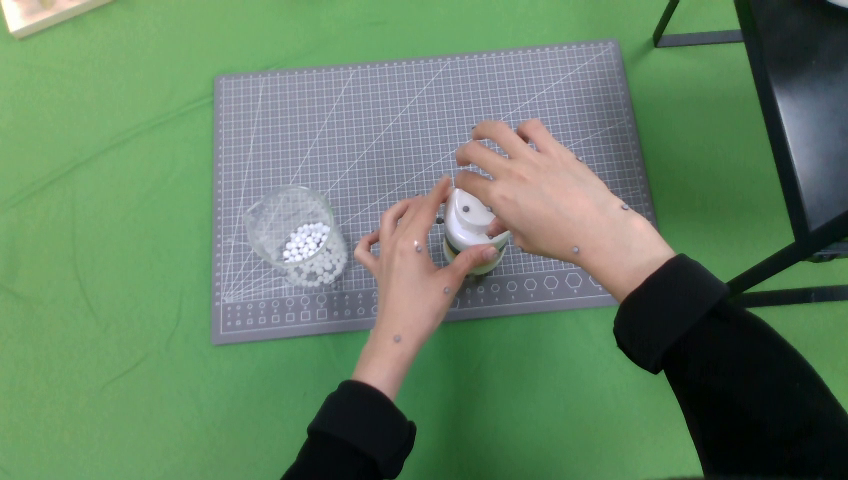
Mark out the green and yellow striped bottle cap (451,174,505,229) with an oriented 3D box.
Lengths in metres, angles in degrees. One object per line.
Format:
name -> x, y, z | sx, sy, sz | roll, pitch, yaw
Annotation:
green and yellow striped bottle cap -> 0.045, -0.032, 0.505 | 0.045, 0.020, 0.045 | 0, 77, -1

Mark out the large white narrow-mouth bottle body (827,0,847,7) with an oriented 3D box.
large white narrow-mouth bottle body -> 0.336, -0.255, 0.399 | 0.102, 0.196, 0.101 | -1, 71, 3

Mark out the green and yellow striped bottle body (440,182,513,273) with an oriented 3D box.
green and yellow striped bottle body -> 0.046, -0.014, 0.553 | 0.063, 0.120, 0.063 | 0, 72, 1

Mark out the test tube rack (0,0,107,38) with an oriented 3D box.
test tube rack -> -0.381, -0.325, 0.681 | 0.242, 0.085, 0.066 | -26, 73, -7

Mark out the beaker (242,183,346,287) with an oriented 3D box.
beaker -> -0.117, 0.000, 0.565 | 0.084, 0.101, 0.073 | 14, 73, 7
